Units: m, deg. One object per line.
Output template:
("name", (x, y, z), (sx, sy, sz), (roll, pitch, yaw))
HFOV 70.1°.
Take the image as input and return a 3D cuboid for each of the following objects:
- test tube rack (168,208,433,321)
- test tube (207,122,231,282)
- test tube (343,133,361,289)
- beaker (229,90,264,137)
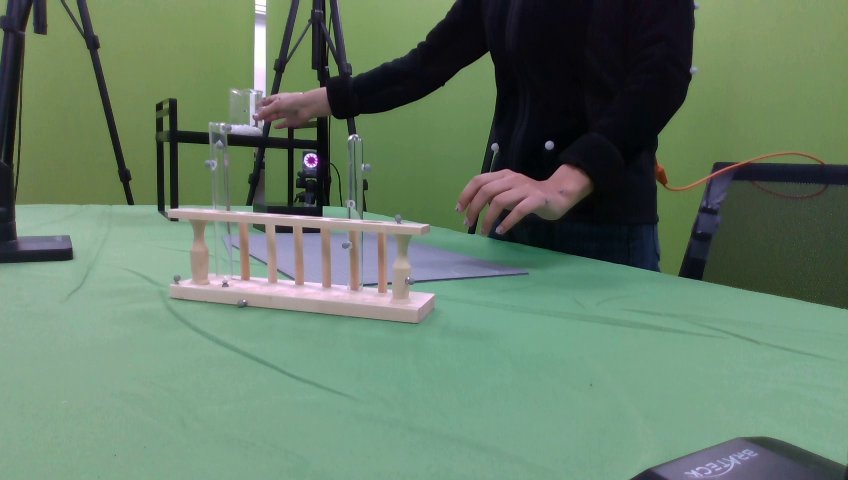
("test tube rack", (-0.116, 0.018, 0.574), (0.242, 0.085, 0.067), (4, 8, 13))
("test tube", (-0.191, -0.034, 0.565), (0.017, 0.150, 0.017), (1, 11, 0))
("test tube", (-0.069, -0.025, 0.575), (0.017, 0.150, 0.017), (1, 11, 0))
("beaker", (-0.391, -0.277, 1.329), (0.074, 0.100, 0.084), (2, 8, -1))
